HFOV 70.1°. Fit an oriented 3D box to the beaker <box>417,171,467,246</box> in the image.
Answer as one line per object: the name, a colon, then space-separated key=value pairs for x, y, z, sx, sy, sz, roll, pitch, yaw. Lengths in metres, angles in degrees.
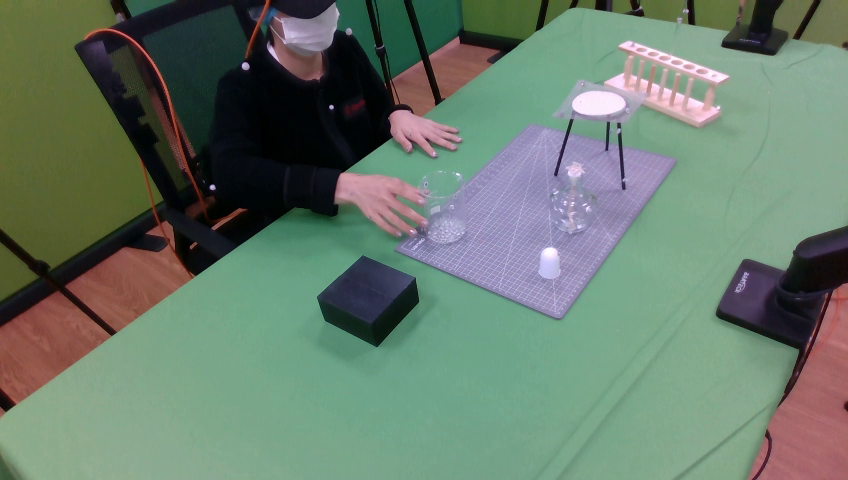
beaker: x=0.034 y=-0.049 z=0.965 sx=0.084 sy=0.101 sz=0.073 roll=-32 pitch=45 yaw=-27

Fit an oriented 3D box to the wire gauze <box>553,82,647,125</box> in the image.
wire gauze: x=0.293 y=-0.225 z=1.002 sx=0.120 sy=0.011 sz=0.125 roll=17 pitch=45 yaw=27

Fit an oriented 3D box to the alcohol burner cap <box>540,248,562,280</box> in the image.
alcohol burner cap: x=0.187 y=0.032 z=0.888 sx=0.034 sy=0.048 sz=0.033 roll=-4 pitch=40 yaw=4

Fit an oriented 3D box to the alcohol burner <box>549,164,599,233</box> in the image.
alcohol burner: x=0.236 y=-0.069 z=0.946 sx=0.078 sy=0.119 sz=0.077 roll=-3 pitch=41 yaw=3

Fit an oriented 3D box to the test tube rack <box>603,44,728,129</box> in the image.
test tube rack: x=0.480 y=-0.316 z=1.227 sx=0.067 sy=0.085 sz=0.240 roll=-28 pitch=44 yaw=-22

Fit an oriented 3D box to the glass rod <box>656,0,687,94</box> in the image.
glass rod: x=0.491 y=-0.381 z=1.199 sx=0.008 sy=0.200 sz=0.008 roll=1 pitch=41 yaw=0

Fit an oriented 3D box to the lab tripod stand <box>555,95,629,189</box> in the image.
lab tripod stand: x=0.300 y=-0.174 z=1.045 sx=0.148 sy=0.132 sz=0.147 roll=-5 pitch=38 yaw=5
